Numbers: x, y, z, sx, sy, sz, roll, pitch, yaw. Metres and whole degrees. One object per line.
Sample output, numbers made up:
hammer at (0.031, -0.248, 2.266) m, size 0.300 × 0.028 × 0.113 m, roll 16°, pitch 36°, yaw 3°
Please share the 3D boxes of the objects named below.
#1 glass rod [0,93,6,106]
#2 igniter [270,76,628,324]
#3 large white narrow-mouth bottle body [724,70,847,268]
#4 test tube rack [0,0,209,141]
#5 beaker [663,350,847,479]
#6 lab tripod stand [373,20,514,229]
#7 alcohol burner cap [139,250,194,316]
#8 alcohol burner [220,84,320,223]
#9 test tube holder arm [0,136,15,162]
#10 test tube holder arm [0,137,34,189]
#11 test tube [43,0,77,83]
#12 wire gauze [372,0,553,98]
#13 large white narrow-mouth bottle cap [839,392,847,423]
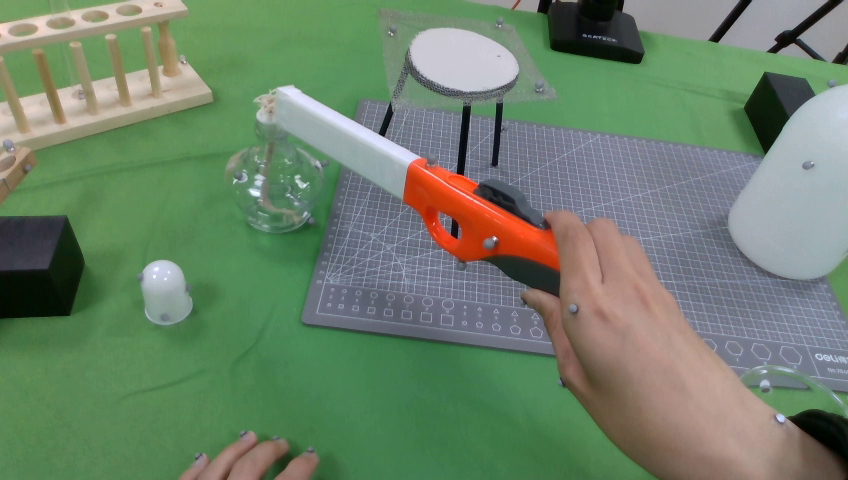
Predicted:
glass rod at (-0.361, -0.198, 0.482) m, size 0.008 × 0.201 × 0.008 m, roll 8°, pitch 38°, yaw -6°
igniter at (0.000, -0.036, 0.363) m, size 0.274 × 0.057 × 0.025 m, roll 33°, pitch 41°, yaw 28°
large white narrow-mouth bottle body at (0.337, -0.072, 0.499) m, size 0.102 × 0.196 × 0.101 m, roll 4°, pitch 47°, yaw -4°
test tube rack at (-0.326, -0.151, 0.536) m, size 0.243 × 0.086 × 0.066 m, roll -25°, pitch 57°, yaw -29°
beaker at (0.192, 0.125, 0.363) m, size 0.084 × 0.101 × 0.073 m, roll -1°, pitch 47°, yaw -9°
lab tripod stand at (0.021, -0.101, 0.513) m, size 0.149 × 0.132 × 0.147 m, roll 6°, pitch 48°, yaw -6°
alcohol burner cap at (-0.183, 0.029, 0.426) m, size 0.034 × 0.048 × 0.033 m, roll 6°, pitch 47°, yaw -6°
alcohol burner at (-0.122, -0.071, 0.479) m, size 0.078 × 0.120 × 0.077 m, roll 6°, pitch 45°, yaw -6°
test tube holder arm at (-0.311, -0.009, 0.387) m, size 0.013 × 0.015 × 0.177 m, roll 10°, pitch 46°, yaw 0°
test tube holder arm at (-0.300, -0.039, 0.419) m, size 0.010 × 0.015 × 0.087 m, roll 10°, pitch 46°, yaw 0°
test tube at (-0.316, -0.203, 0.518) m, size 0.017 × 0.151 × 0.017 m, roll 6°, pitch 43°, yaw -5°
wire gauze at (0.025, -0.148, 0.464) m, size 0.122 × 0.011 × 0.123 m, roll -2°, pitch 50°, yaw -13°
large white narrow-mouth bottle cap at (0.327, 0.123, 0.442) m, size 0.038 × 0.024 × 0.037 m, roll 5°, pitch 47°, yaw -5°
